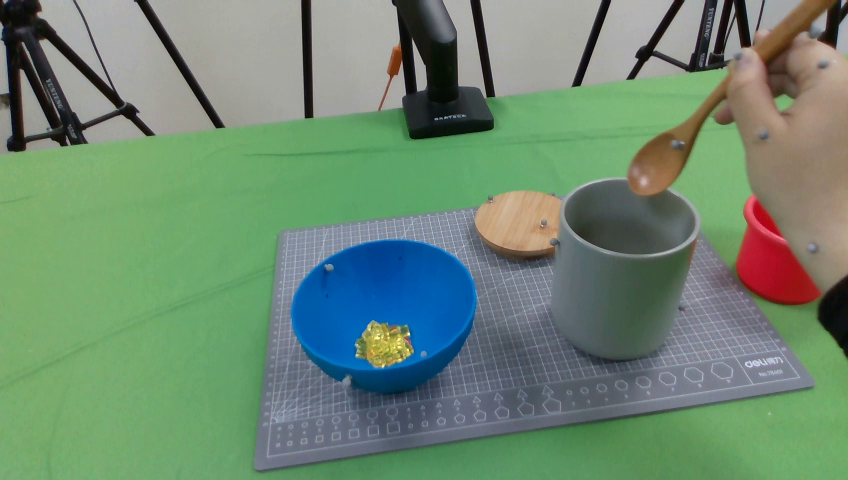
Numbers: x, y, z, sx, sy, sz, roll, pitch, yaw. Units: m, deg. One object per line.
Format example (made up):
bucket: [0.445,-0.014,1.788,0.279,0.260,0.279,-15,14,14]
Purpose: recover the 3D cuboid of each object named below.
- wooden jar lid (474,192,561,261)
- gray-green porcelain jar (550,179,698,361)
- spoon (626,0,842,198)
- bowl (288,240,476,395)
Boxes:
wooden jar lid: [0.108,-0.014,0.654,0.108,0.021,0.107,-3,38,3]
gray-green porcelain jar: [0.162,0.030,0.510,0.106,0.127,0.105,-3,39,3]
spoon: [0.182,-0.084,0.376,0.022,0.194,0.041,-1,65,-12]
bowl: [-0.031,0.076,0.509,0.151,0.077,0.150,-2,39,2]
